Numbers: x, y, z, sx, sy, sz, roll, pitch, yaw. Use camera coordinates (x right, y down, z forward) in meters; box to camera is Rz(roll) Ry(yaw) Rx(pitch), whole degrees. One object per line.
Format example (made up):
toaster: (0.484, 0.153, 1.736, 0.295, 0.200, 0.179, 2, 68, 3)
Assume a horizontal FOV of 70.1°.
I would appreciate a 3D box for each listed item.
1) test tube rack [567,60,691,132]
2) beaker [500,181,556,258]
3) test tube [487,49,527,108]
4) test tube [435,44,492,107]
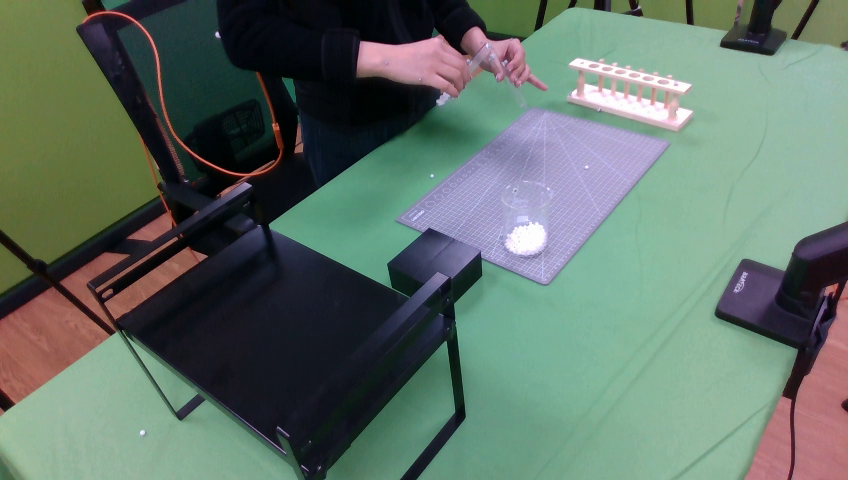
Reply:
test tube rack: (0.411, -0.299, 1.217, 0.240, 0.085, 0.067, 26, 51, 34)
beaker: (0.159, -0.030, 0.922, 0.084, 0.100, 0.073, -13, 41, -8)
test tube: (0.152, -0.290, 1.095, 0.017, 0.151, 0.017, -17, 54, 26)
test tube: (0.066, -0.276, 1.010, 0.017, 0.017, 0.150, 27, 68, 34)
